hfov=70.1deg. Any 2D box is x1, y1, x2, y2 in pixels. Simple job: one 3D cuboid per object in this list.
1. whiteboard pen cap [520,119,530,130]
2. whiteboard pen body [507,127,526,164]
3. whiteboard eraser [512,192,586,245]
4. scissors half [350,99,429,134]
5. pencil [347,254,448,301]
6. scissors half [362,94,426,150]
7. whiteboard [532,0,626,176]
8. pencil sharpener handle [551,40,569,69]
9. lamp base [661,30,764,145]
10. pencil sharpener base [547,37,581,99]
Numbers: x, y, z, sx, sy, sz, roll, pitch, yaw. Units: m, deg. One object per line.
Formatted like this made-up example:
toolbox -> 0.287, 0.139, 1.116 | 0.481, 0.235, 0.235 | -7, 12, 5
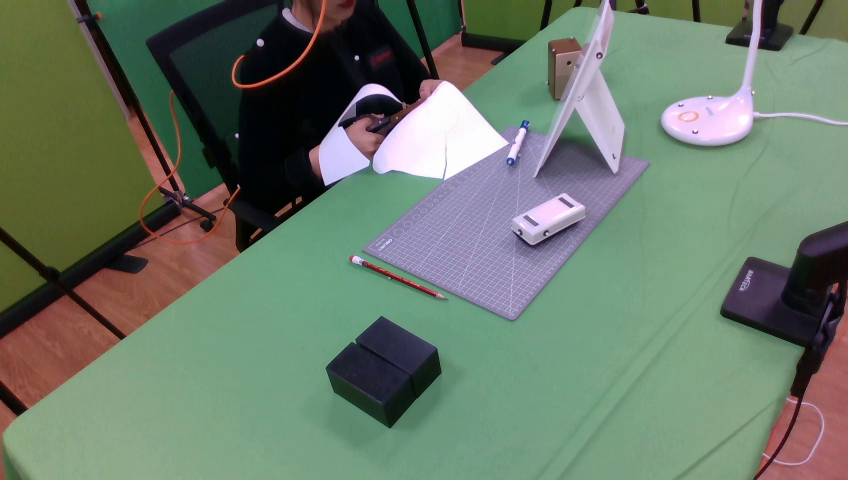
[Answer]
whiteboard pen cap -> 0.199, -0.226, 1.204 | 0.018, 0.018, 0.033 | 7, 41, 18
whiteboard pen body -> 0.181, -0.189, 1.162 | 0.017, 0.017, 0.140 | 7, 42, 19
whiteboard eraser -> 0.199, -0.032, 0.962 | 0.113, 0.042, 0.055 | -27, 43, -20
scissors half -> -0.073, -0.260, 1.244 | 0.175, 0.040, 0.013 | -16, 33, 11
pencil -> -0.044, 0.058, 0.933 | 0.192, 0.012, 0.012 | 22, 49, 28
scissors half -> -0.061, -0.244, 1.253 | 0.175, 0.040, 0.012 | -39, 21, 22
whiteboard -> 0.320, -0.258, 1.050 | 0.144, 0.306, 0.217 | 21, 45, 5
pencil sharpener handle -> 0.291, -0.409, 1.320 | 0.036, 0.068, 0.030 | 2, 40, -6
lamp base -> 0.535, -0.287, 1.096 | 0.179, 0.181, 0.159 | -10, 40, -4
pencil sharpener base -> 0.299, -0.368, 1.290 | 0.061, 0.107, 0.076 | -8, 40, 2
